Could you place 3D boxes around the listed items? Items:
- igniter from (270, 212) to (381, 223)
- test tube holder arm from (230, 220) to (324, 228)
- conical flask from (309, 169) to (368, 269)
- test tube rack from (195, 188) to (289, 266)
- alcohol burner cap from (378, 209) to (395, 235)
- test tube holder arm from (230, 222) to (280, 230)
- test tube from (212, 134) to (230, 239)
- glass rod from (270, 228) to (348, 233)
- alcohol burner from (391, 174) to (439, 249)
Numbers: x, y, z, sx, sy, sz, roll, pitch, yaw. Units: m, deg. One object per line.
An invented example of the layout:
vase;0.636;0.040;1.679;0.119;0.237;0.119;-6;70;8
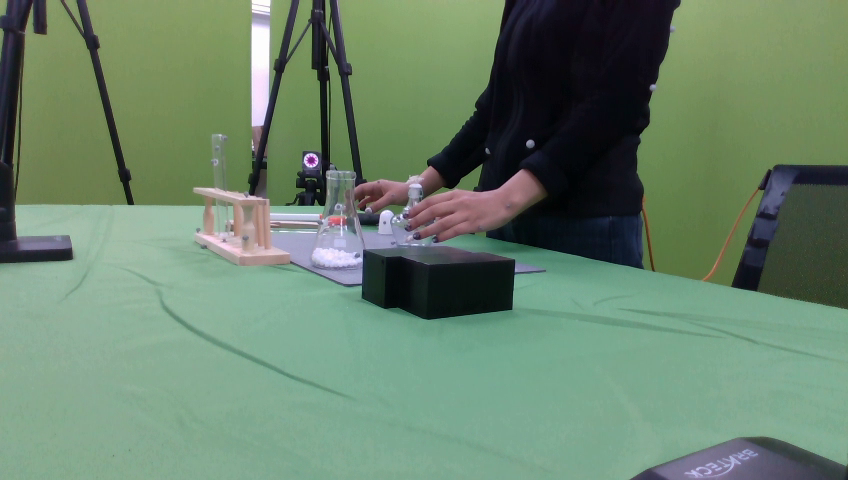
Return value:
igniter;-0.213;-0.048;1.278;0.278;0.025;0.057;-1;-2;-25
test tube holder arm;-0.275;-0.030;1.144;0.179;0.015;0.013;-2;43;-31
conical flask;-0.107;-0.028;0.762;0.075;0.122;0.075;2;7;0
test tube rack;-0.266;-0.025;0.864;0.067;0.085;0.241;-2;8;-33
alcohol burner cap;-0.070;-0.035;1.144;0.034;0.048;0.034;1;8;0
test tube holder arm;-0.312;-0.025;1.118;0.088;0.015;0.010;-1;43;-30
test tube;-0.290;-0.076;0.863;0.017;0.150;0.017;-2;6;0
glass rod;-0.234;-0.017;1.105;0.201;0.008;0.008;1;7;-26
alcohol burner;-0.014;-0.045;0.962;0.078;0.119;0.078;2;9;0
